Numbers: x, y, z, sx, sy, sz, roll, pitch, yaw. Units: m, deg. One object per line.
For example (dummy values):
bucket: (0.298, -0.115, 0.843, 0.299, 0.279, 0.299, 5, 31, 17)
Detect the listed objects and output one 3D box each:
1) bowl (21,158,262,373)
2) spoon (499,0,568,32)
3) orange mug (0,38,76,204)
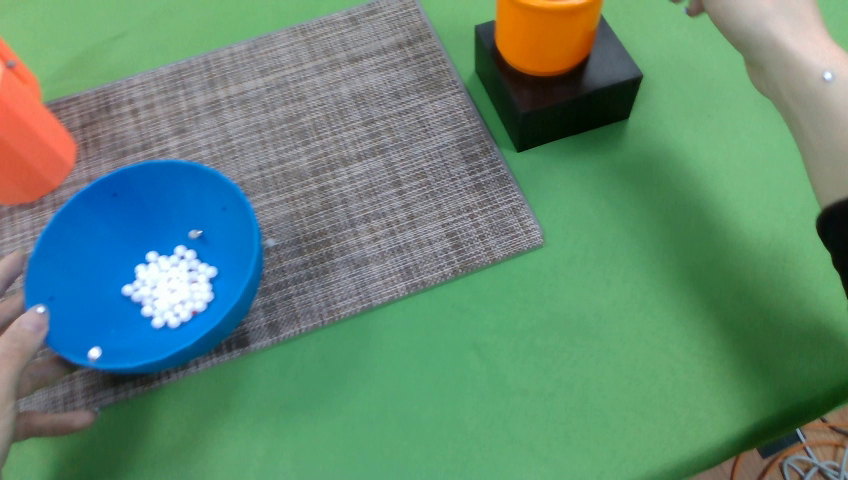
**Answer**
bowl: (-0.177, 0.027, 0.418, 0.151, 0.077, 0.150, -1, 62, 3)
spoon: (0.127, -0.196, 0.422, 0.022, 0.193, 0.041, 45, 52, -19)
orange mug: (-0.349, -0.106, 0.487, 0.083, 0.101, 0.125, -9, 66, -1)
